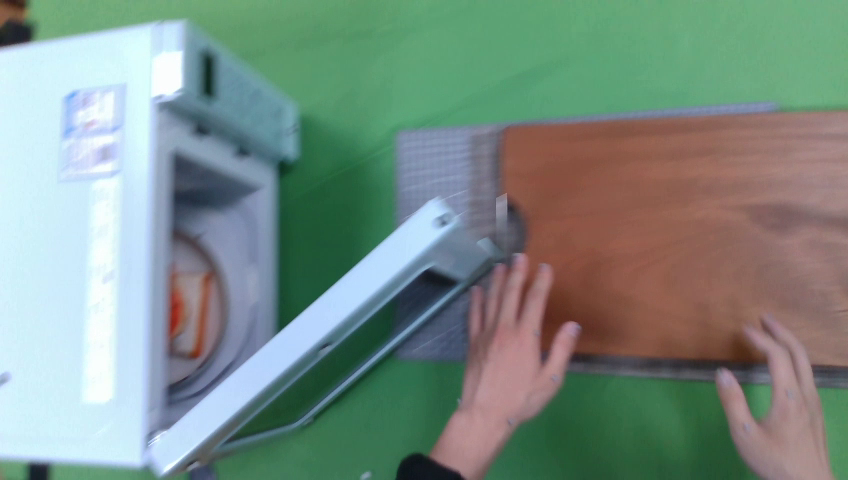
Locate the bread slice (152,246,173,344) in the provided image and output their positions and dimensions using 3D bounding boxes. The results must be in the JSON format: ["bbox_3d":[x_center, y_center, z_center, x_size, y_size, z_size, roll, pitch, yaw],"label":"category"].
[{"bbox_3d":[-0.340,0.067,0.696,0.134,0.018,0.106,-7,82,26],"label":"bread slice"}]

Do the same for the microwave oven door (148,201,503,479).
[{"bbox_3d":[-0.079,0.105,0.629,0.356,0.245,0.039,-42,73,6],"label":"microwave oven door"}]

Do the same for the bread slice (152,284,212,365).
[{"bbox_3d":[-0.341,0.085,0.761,0.131,0.019,0.105,20,89,15],"label":"bread slice"}]

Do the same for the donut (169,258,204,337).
[{"bbox_3d":[-0.313,0.070,0.732,0.099,0.048,0.098,-3,78,13],"label":"donut"}]

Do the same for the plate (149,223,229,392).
[{"bbox_3d":[-0.336,0.084,0.758,0.207,0.039,0.207,-1,83,11],"label":"plate"}]

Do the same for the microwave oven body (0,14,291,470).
[{"bbox_3d":[-0.348,0.015,0.719,0.325,0.261,0.440,-3,82,14],"label":"microwave oven body"}]

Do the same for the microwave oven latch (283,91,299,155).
[{"bbox_3d":[-0.182,-0.154,0.798,0.030,0.029,0.079,-3,82,14],"label":"microwave oven latch"}]
